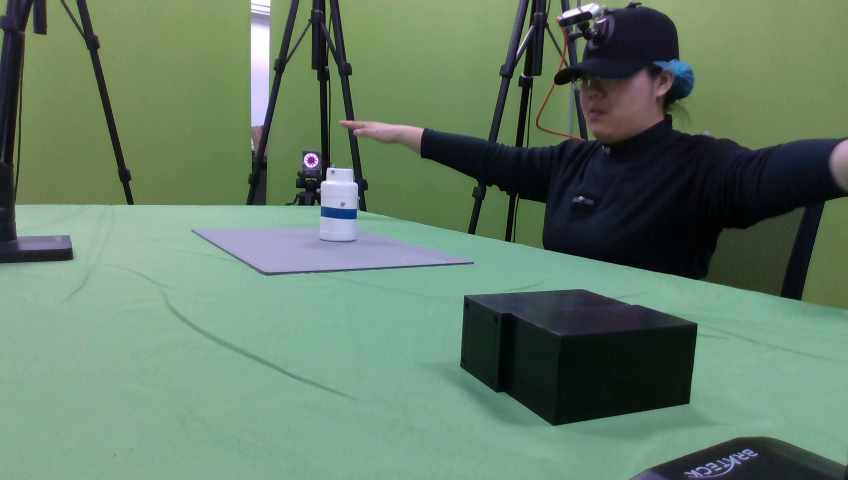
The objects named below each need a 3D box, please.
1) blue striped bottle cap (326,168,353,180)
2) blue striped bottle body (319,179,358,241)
[{"bbox_3d":[-0.141,-0.111,1.011,0.044,0.020,0.044,2,6,0],"label":"blue striped bottle cap"},{"bbox_3d":[-0.143,-0.061,1.018,0.063,0.120,0.063,3,7,0],"label":"blue striped bottle body"}]
